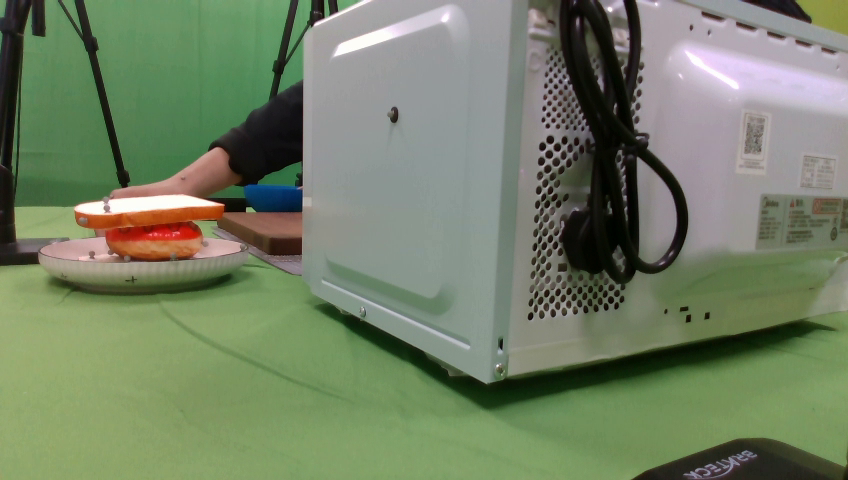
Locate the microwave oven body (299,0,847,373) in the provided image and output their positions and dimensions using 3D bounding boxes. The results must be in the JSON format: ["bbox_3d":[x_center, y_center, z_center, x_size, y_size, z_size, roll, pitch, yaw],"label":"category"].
[{"bbox_3d":[0.152,-0.055,0.542,0.444,0.260,0.324,-2,7,-33],"label":"microwave oven body"}]

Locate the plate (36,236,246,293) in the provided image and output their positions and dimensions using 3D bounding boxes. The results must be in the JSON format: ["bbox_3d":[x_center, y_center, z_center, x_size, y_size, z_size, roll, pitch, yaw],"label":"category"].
[{"bbox_3d":[-0.305,0.025,0.668,0.208,0.039,0.207,2,8,0],"label":"plate"}]

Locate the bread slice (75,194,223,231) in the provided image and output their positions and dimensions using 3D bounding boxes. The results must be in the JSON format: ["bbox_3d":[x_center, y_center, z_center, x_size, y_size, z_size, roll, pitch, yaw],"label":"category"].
[{"bbox_3d":[-0.302,-0.032,0.659,0.106,0.018,0.135,10,17,41],"label":"bread slice"}]

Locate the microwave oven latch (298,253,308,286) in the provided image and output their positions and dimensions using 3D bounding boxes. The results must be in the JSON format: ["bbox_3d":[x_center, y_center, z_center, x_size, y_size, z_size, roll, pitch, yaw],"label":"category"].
[{"bbox_3d":[-0.081,0.027,0.583,0.079,0.029,0.030,-1,7,-32],"label":"microwave oven latch"}]

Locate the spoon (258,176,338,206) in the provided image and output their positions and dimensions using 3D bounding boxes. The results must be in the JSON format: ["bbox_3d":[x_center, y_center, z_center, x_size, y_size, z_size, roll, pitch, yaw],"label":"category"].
[{"bbox_3d":[-0.279,-0.112,1.356,0.194,0.021,0.041,-27,20,-27],"label":"spoon"}]

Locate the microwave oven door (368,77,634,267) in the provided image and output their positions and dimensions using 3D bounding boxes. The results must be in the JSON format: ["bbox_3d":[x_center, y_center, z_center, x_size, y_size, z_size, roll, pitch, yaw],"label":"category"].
[{"bbox_3d":[0.094,-0.099,0.831,0.355,0.243,0.039,5,7,18],"label":"microwave oven door"}]

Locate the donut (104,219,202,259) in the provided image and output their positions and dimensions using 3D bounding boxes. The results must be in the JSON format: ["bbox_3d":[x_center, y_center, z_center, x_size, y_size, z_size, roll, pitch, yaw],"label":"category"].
[{"bbox_3d":[-0.298,-0.003,0.669,0.099,0.048,0.099,3,-1,0],"label":"donut"}]

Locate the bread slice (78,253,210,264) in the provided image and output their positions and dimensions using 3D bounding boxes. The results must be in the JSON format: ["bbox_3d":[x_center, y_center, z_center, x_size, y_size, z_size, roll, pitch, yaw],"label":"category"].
[{"bbox_3d":[-0.302,0.027,0.662,0.132,0.019,0.104,-4,8,-45],"label":"bread slice"}]

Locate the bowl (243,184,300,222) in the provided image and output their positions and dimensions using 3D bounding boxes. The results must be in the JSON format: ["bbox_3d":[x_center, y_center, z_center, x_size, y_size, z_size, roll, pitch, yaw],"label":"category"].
[{"bbox_3d":[-0.322,-0.081,1.334,0.151,0.077,0.151,3,8,0],"label":"bowl"}]
